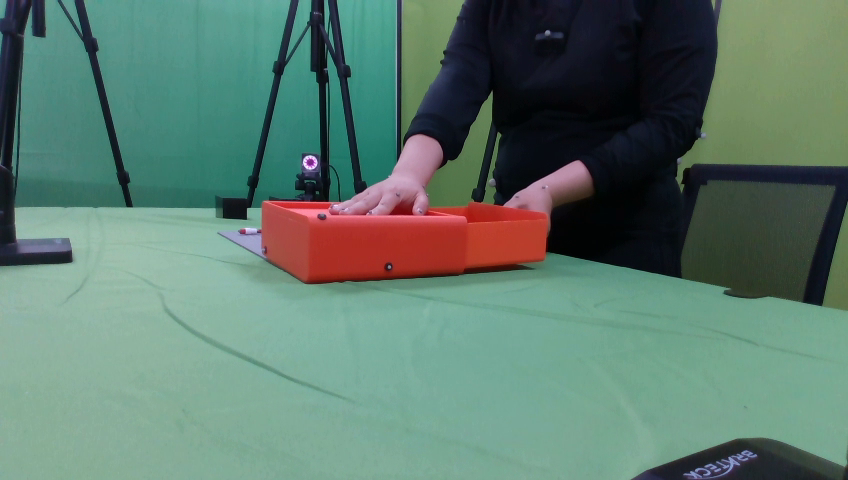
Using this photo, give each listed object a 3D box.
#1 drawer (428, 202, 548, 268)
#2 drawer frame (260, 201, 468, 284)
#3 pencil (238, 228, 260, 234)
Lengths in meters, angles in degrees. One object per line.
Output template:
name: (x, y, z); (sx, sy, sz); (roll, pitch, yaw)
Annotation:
drawer: (0.035, -0.010, 0.867); (0.213, 0.073, 0.193); (-4, 11, -31)
drawer frame: (-0.083, -0.004, 0.794); (0.215, 0.082, 0.200); (-2, 10, -31)
pencil: (-0.241, -0.015, 1.106); (0.195, 0.012, 0.012); (1, 7, -30)
